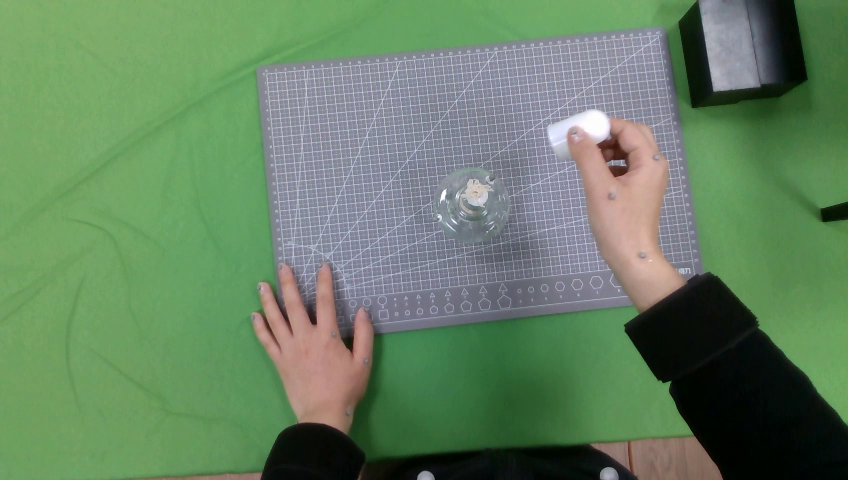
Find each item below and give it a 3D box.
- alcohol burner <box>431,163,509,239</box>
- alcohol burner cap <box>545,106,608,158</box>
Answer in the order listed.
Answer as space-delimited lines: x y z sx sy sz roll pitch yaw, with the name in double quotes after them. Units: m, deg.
0.046 -0.041 0.590 0.078 0.119 0.077 0 85 0 "alcohol burner"
0.126 -0.090 0.489 0.048 0.034 0.034 -22 83 40 "alcohol burner cap"
